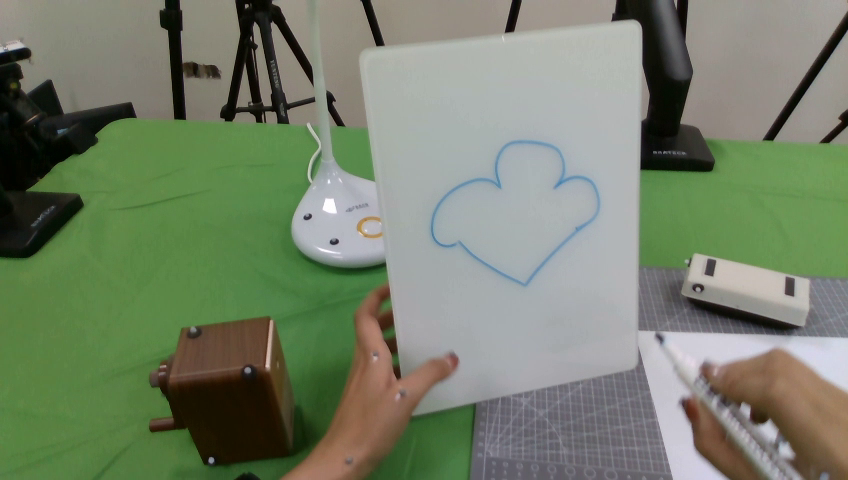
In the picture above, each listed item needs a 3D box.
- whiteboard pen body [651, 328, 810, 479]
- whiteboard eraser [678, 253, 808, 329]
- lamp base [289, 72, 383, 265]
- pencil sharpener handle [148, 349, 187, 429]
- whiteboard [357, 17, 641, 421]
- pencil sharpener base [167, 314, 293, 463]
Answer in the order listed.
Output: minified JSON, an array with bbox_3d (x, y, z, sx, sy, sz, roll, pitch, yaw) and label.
[{"bbox_3d":[0.171,0.100,0.328,0.017,0.017,0.139,-18,51,-21],"label":"whiteboard pen body"},{"bbox_3d":[0.317,0.051,0.604,0.112,0.042,0.055,16,41,21],"label":"whiteboard eraser"},{"bbox_3d":[-0.091,-0.089,0.691,0.161,0.182,0.177,-28,42,-31],"label":"lamp base"},{"bbox_3d":[-0.201,0.116,0.462,0.031,0.068,0.035,-7,25,-6],"label":"pencil sharpener handle"},{"bbox_3d":[0.061,-0.026,0.548,0.217,0.307,0.143,-9,19,-9],"label":"whiteboard"},{"bbox_3d":[-0.150,0.119,0.478,0.077,0.108,0.060,-7,38,-6],"label":"pencil sharpener base"}]
